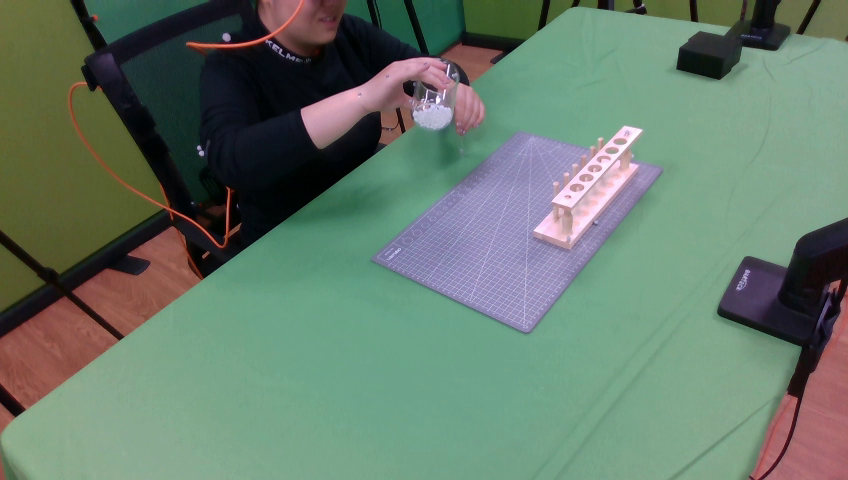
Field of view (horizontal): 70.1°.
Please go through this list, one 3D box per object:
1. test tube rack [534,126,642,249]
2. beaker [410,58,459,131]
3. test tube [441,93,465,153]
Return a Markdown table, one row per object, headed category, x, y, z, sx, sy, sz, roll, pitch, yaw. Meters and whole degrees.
| category | x | y | z | sx | sy | sz | roll | pitch | yaw |
| --- | --- | --- | --- | --- | --- | --- | --- | --- | --- |
| test tube rack | 0.271 | -0.095 | 0.990 | 0.066 | 0.085 | 0.243 | 23 | 49 | 33 |
| beaker | 0.018 | -0.235 | 0.994 | 0.073 | 0.084 | 0.100 | -6 | 52 | 20 |
| test tube | 0.055 | -0.211 | 1.111 | 0.017 | 0.151 | 0.017 | -7 | 57 | 12 |
